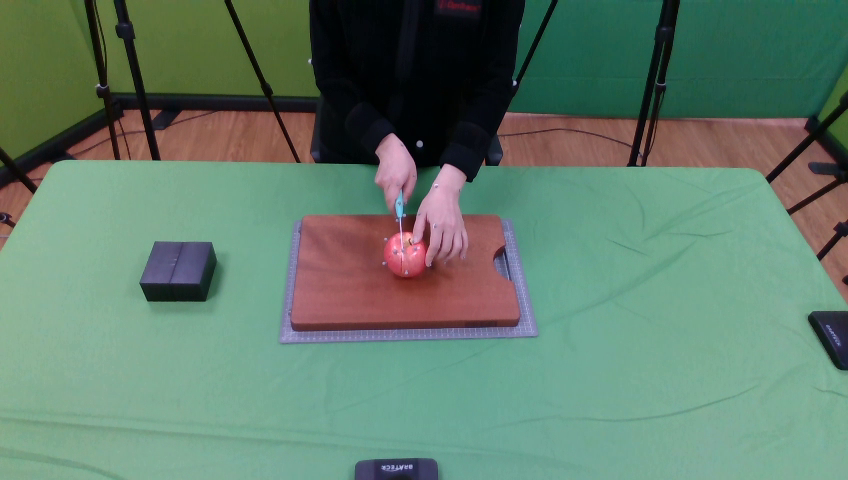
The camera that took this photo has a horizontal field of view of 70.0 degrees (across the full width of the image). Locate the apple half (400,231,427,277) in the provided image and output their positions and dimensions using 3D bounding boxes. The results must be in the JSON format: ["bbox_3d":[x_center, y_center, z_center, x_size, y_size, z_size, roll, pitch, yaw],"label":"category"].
[{"bbox_3d":[-0.021,0.027,1.095,0.053,0.075,0.080,0,42,-10],"label":"apple half"}]

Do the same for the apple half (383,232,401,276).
[{"bbox_3d":[-0.058,0.028,1.090,0.033,0.081,0.081,0,46,-7],"label":"apple half"}]

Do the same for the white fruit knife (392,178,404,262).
[{"bbox_3d":[-0.044,-0.042,1.093,0.016,0.027,0.206,-6,50,-1],"label":"white fruit knife"}]
